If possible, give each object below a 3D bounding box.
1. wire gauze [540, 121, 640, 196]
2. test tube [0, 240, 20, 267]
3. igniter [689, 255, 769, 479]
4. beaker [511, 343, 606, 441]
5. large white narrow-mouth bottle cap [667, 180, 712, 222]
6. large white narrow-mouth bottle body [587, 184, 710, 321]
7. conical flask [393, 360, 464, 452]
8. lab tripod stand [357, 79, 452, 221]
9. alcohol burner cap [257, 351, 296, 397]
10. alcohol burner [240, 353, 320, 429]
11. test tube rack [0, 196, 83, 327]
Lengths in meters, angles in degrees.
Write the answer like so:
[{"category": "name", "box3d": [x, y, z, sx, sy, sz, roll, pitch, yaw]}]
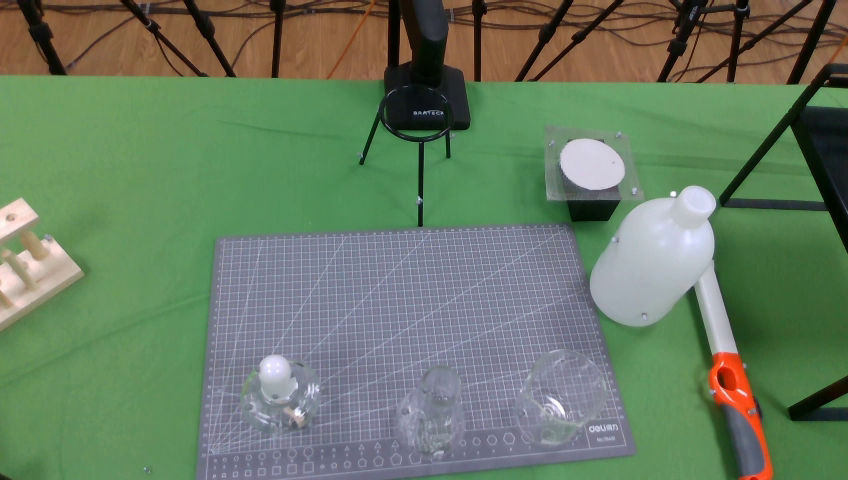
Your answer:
[{"category": "wire gauze", "box3d": [0.213, -0.106, 0.790, 0.121, 0.011, 0.124, 4, 57, -4]}, {"category": "test tube", "box3d": [-0.453, -0.015, 0.611, 0.017, 0.151, 0.017, 1, 56, -1]}, {"category": "igniter", "box3d": [0.346, 0.136, 0.701, 0.057, 0.025, 0.274, 9, 57, -13]}, {"category": "beaker", "box3d": [0.129, 0.159, 0.616, 0.084, 0.101, 0.073, -6, 58, -9]}, {"category": "large white narrow-mouth bottle cap", "box3d": [0.262, -0.039, 0.600, 0.038, 0.024, 0.037, 3, 58, -4]}, {"category": "large white narrow-mouth bottle body", "box3d": [0.255, 0.008, 0.672, 0.102, 0.196, 0.101, 3, 58, -4]}, {"category": "conical flask", "box3d": [0.009, 0.156, 0.591, 0.075, 0.123, 0.074, 3, 57, -4]}, {"category": "lab tripod stand", "box3d": [-0.015, -0.119, 0.757, 0.148, 0.132, 0.147, 4, 59, -6]}, {"category": "alcohol burner cap", "box3d": [-0.138, 0.121, 0.558, 0.034, 0.048, 0.033, 2, 52, -2]}, {"category": "alcohol burner", "box3d": [-0.141, 0.140, 0.589, 0.078, 0.120, 0.077, 4, 56, -6]}, {"category": "test tube rack", "box3d": [-0.491, 0.065, 0.615, 0.066, 0.086, 0.242, 40, 62, 18]}]
